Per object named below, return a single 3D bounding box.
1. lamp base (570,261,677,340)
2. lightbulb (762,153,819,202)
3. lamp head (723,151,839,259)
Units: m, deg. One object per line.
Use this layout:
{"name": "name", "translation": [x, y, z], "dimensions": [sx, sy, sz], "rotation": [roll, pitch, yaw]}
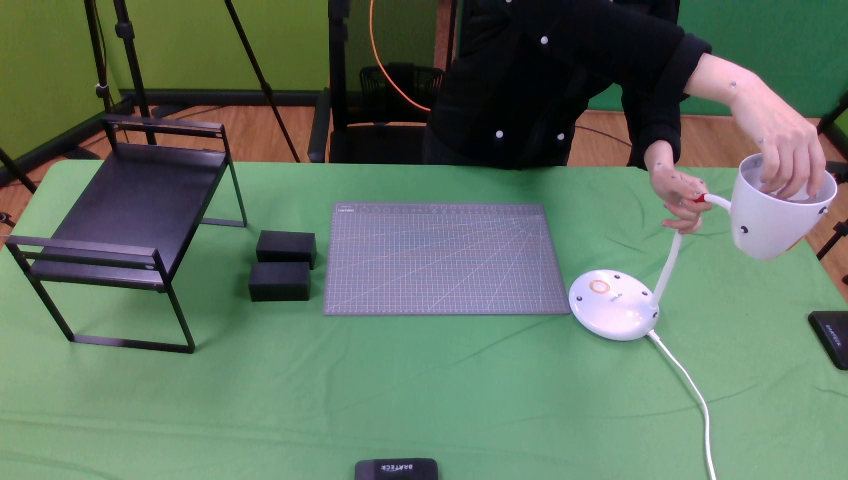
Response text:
{"name": "lamp base", "translation": [0.359, 0.068, 1.046], "dimensions": [0.178, 0.181, 0.160], "rotation": [37, 55, 25]}
{"name": "lightbulb", "translation": [0.445, -0.057, 0.755], "dimensions": [0.059, 0.108, 0.059], "rotation": [4, 38, -3]}
{"name": "lamp head", "translation": [0.440, -0.039, 0.773], "dimensions": [0.112, 0.123, 0.111], "rotation": [1, 46, -1]}
